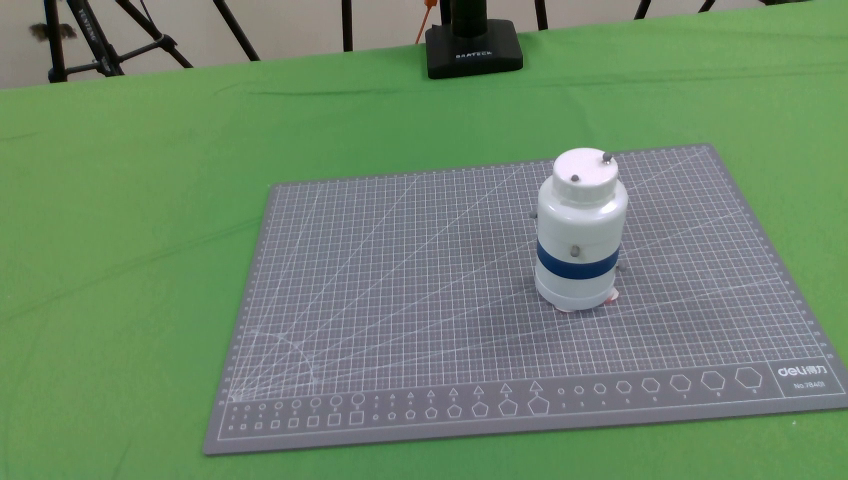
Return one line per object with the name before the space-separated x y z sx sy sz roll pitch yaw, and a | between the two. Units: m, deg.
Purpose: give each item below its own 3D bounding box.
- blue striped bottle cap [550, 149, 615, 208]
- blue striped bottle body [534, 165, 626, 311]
blue striped bottle cap | 0.110 -0.043 0.420 0.044 0.021 0.044 -3 45 3
blue striped bottle body | 0.116 -0.007 0.456 0.063 0.122 0.062 -4 45 4
